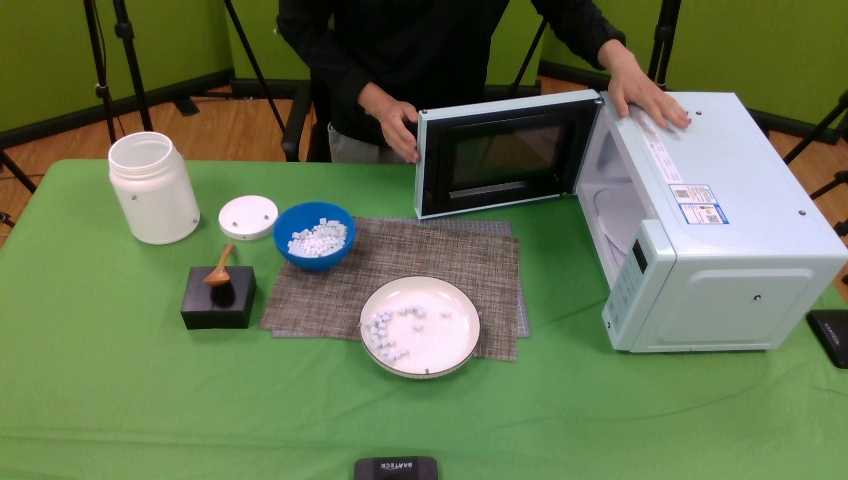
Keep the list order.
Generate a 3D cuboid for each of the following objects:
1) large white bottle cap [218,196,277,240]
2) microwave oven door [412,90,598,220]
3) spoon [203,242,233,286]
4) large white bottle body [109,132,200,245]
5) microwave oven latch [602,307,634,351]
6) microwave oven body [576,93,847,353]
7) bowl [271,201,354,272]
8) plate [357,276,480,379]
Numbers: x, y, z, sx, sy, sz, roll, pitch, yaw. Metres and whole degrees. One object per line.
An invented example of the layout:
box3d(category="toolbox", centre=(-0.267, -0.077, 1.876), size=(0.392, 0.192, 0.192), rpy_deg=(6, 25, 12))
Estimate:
box3d(category="large white bottle cap", centre=(-0.354, -0.045, 1.220), size=(0.115, 0.018, 0.114), rpy_deg=(2, 45, -1))
box3d(category="microwave oven door", centre=(0.156, -0.167, 1.200), size=(0.356, 0.245, 0.039), rpy_deg=(-10, 47, -14))
box3d(category="spoon", centre=(-0.360, 0.039, 1.087), size=(0.041, 0.022, 0.192), rpy_deg=(-6, 24, -7))
box3d(category="large white bottle body", centre=(-0.506, -0.097, 1.141), size=(0.131, 0.185, 0.130), rpy_deg=(2, 46, -2))
box3d(category="microwave oven latch", centre=(0.332, 0.153, 1.044), size=(0.030, 0.029, 0.078), rpy_deg=(-1, 45, -4))
box3d(category="microwave oven body", centre=(0.475, -0.041, 1.109), size=(0.326, 0.261, 0.438), rpy_deg=(-1, 45, -4))
box3d(category="bowl", centre=(-0.205, 0.006, 1.135), size=(0.151, 0.077, 0.150), rpy_deg=(3, 46, -3))
box3d(category="plate", centre=(-0.009, 0.151, 1.038), size=(0.209, 0.038, 0.208), rpy_deg=(2, 47, -2))
